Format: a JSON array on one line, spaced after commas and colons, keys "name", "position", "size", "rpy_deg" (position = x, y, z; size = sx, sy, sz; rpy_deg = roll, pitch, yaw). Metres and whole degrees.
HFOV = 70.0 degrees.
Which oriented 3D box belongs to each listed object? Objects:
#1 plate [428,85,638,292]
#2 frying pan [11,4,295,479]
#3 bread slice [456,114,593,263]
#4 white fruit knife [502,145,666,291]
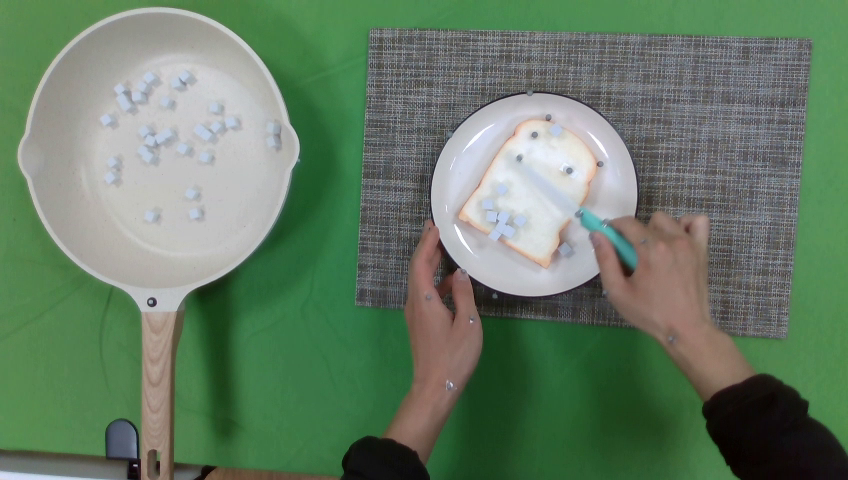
[{"name": "plate", "position": [0.109, -0.051, 0.622], "size": [0.207, 0.039, 0.207], "rpy_deg": [0, 93, 7]}, {"name": "frying pan", "position": [-0.278, 0.009, 0.638], "size": [0.306, 0.103, 0.486], "rpy_deg": [0, 84, 7]}, {"name": "bread slice", "position": [0.107, -0.060, 0.623], "size": [0.107, 0.018, 0.134], "rpy_deg": [27, 97, 4]}, {"name": "white fruit knife", "position": [0.151, -0.027, 0.586], "size": [0.206, 0.027, 0.016], "rpy_deg": [42, 63, 15]}]
